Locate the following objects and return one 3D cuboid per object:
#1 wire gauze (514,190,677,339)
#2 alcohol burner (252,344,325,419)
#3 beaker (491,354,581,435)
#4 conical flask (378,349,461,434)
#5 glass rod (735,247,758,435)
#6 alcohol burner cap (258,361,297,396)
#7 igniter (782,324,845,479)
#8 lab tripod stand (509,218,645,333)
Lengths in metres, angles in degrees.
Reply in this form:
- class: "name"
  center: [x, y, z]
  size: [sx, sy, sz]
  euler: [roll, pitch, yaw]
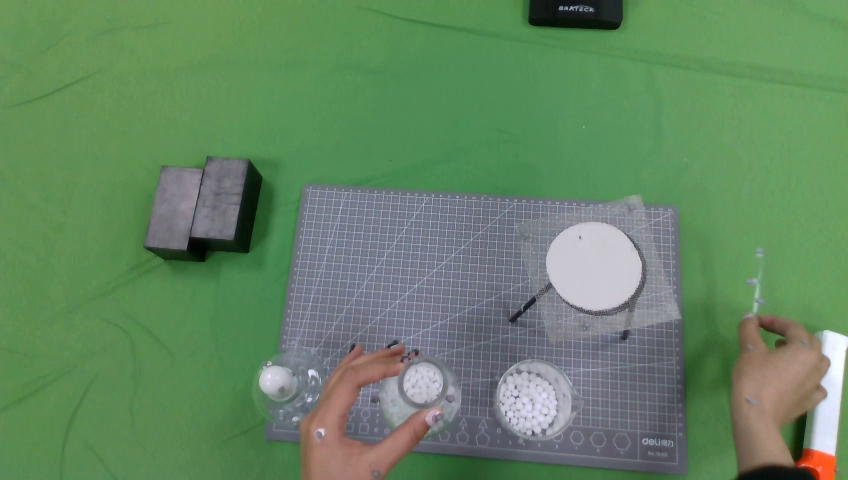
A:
- class: "wire gauze"
  center: [0.158, 0.022, 0.563]
  size: [0.125, 0.011, 0.120]
  euler: [-12, 75, 0]
- class: "alcohol burner"
  center: [-0.142, 0.143, 0.620]
  size: [0.078, 0.119, 0.077]
  euler: [0, 75, 1]
- class: "beaker"
  center: [0.108, 0.158, 0.613]
  size: [0.084, 0.101, 0.073]
  euler: [2, 73, 2]
- class: "conical flask"
  center: [-0.003, 0.119, 0.496]
  size: [0.075, 0.122, 0.075]
  euler: [1, 72, -1]
- class: "glass rod"
  center: [0.338, 0.106, 0.636]
  size: [0.008, 0.008, 0.199]
  euler: [4, 92, 3]
- class: "alcohol burner cap"
  center: [-0.143, 0.132, 0.585]
  size: [0.034, 0.048, 0.033]
  euler: [1, 72, -3]
- class: "igniter"
  center: [0.400, 0.222, 0.623]
  size: [0.057, 0.025, 0.275]
  euler: [18, 75, -3]
- class: "lab tripod stand"
  center: [0.161, 0.043, 0.627]
  size: [0.148, 0.132, 0.147]
  euler: [-1, 75, 3]
